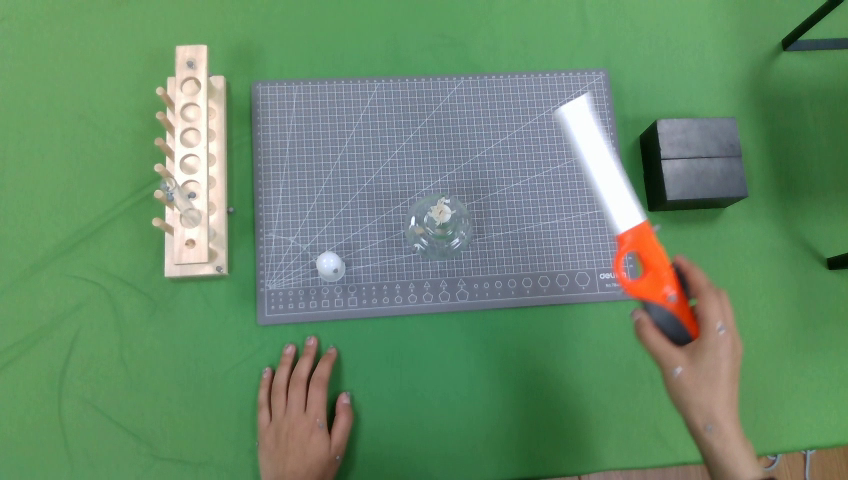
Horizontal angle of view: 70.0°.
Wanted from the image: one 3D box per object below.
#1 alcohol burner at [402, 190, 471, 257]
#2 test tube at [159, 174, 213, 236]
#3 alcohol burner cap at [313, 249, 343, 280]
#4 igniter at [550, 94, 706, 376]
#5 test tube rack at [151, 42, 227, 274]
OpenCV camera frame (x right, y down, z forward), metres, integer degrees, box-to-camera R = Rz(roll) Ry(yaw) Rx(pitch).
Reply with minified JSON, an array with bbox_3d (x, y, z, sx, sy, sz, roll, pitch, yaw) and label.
[{"bbox_3d":[0.015,-0.021,0.668,0.078,0.119,0.077,1,80,-3],"label":"alcohol burner"},{"bbox_3d":[-0.239,-0.032,0.617,0.017,0.151,0.017,2,73,-5],"label":"test tube"},{"bbox_3d":[-0.109,0.025,0.685,0.034,0.048,0.033,1,78,-4],"label":"alcohol burner cap"},{"bbox_3d":[0.190,-0.002,0.559,0.057,0.025,0.276,-27,93,-2],"label":"igniter"},{"bbox_3d":[-0.265,-0.088,0.676,0.067,0.085,0.241,-3,79,-4],"label":"test tube rack"}]
